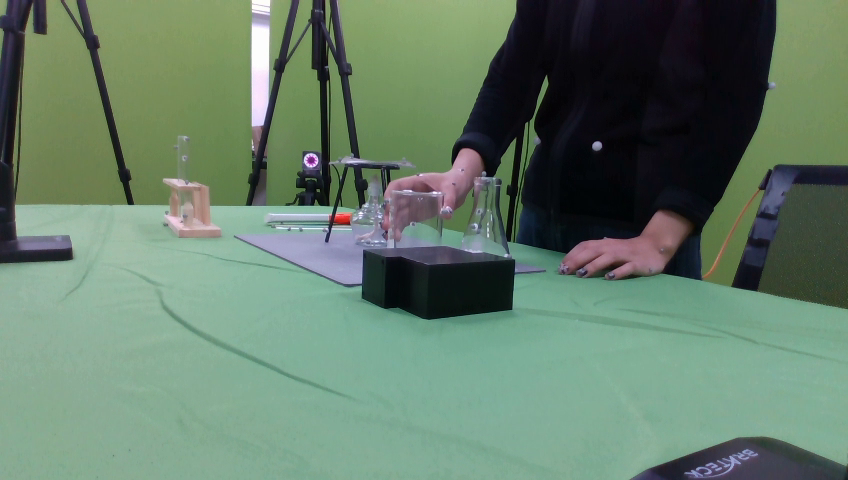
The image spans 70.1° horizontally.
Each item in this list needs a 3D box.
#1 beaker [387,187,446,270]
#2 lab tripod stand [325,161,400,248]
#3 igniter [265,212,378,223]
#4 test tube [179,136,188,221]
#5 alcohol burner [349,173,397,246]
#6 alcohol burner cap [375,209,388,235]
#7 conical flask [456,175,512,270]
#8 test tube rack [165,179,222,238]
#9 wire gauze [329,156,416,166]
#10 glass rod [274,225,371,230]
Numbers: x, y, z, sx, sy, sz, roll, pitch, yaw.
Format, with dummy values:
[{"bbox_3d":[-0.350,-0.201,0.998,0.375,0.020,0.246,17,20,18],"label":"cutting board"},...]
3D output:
[{"bbox_3d":[-0.011,-0.016,0.774,0.074,0.100,0.084,4,7,6],"label":"beaker"},{"bbox_3d":[-0.083,-0.060,0.977,0.148,0.131,0.148,4,8,0],"label":"lab tripod stand"},{"bbox_3d":[-0.195,-0.048,1.285,0.278,0.025,0.057,-2,-2,-30],"label":"igniter"},{"bbox_3d":[-0.425,-0.108,1.070,0.017,0.150,0.017,4,9,0],"label":"test tube"},{"bbox_3d":[-0.081,-0.050,0.982,0.078,0.119,0.078,4,8,0],"label":"alcohol burner"},{"bbox_3d":[-0.076,-0.035,1.145,0.034,0.048,0.034,1,7,0],"label":"alcohol burner cap"},{"bbox_3d":[0.082,-0.025,0.801,0.075,0.122,0.075,2,7,0],"label":"conical flask"},{"bbox_3d":[-0.423,-0.062,1.098,0.067,0.085,0.241,-1,8,-28],"label":"test tube rack"},{"bbox_3d":[-0.079,-0.126,0.972,0.121,0.011,0.125,4,8,5],"label":"wire gauze"},{"bbox_3d":[-0.193,-0.024,1.177,0.201,0.008,0.008,1,7,-31],"label":"glass rod"}]
